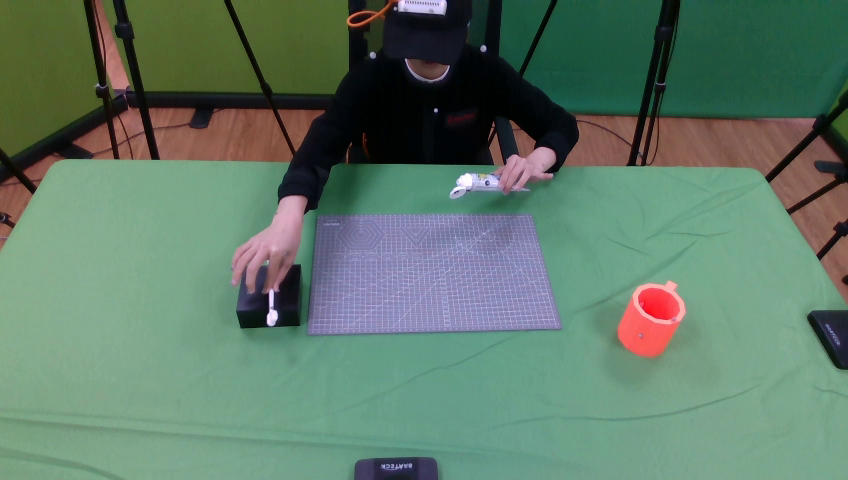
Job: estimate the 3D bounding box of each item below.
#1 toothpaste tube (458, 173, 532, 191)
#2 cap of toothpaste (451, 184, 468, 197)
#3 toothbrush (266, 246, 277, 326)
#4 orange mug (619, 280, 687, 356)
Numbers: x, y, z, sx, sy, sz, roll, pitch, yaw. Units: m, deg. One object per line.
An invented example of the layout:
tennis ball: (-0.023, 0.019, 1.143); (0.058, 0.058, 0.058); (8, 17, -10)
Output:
toothpaste tube: (0.138, -0.114, 1.196); (0.165, 0.034, 0.054); (-4, 41, -31)
cap of toothpaste: (0.066, -0.093, 1.143); (0.037, 0.037, 0.011); (-17, 70, -19)
toothbrush: (-0.261, 0.073, 1.039); (0.014, 0.017, 0.180); (16, 37, -27)
orange mug: (0.401, 0.125, 1.045); (0.083, 0.101, 0.126); (30, 56, 24)
